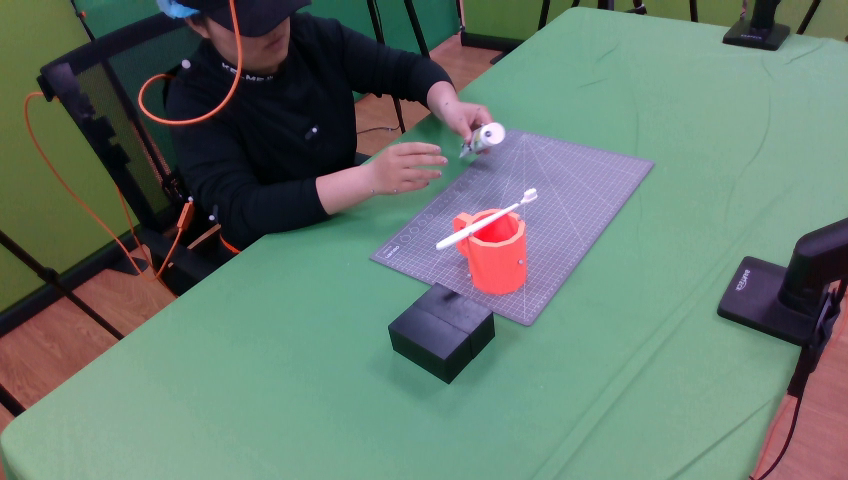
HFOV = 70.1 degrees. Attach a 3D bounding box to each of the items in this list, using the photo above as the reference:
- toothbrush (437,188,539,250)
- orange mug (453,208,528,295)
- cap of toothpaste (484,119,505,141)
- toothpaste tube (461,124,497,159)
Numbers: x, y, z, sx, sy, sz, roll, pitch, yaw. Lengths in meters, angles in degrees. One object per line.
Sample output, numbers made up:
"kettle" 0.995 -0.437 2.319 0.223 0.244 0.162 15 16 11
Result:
"toothbrush" 0.093 -0.031 0.859 0.182 0.017 0.014 -28 51 -21
"orange mug" 0.094 0.009 0.894 0.125 0.101 0.084 32 55 33
"cap of toothpaste" 0.114 -0.179 0.986 0.037 0.037 0.011 -18 5 -10
"toothpaste tube" 0.099 -0.179 1.062 0.034 0.164 0.055 28 83 -11
